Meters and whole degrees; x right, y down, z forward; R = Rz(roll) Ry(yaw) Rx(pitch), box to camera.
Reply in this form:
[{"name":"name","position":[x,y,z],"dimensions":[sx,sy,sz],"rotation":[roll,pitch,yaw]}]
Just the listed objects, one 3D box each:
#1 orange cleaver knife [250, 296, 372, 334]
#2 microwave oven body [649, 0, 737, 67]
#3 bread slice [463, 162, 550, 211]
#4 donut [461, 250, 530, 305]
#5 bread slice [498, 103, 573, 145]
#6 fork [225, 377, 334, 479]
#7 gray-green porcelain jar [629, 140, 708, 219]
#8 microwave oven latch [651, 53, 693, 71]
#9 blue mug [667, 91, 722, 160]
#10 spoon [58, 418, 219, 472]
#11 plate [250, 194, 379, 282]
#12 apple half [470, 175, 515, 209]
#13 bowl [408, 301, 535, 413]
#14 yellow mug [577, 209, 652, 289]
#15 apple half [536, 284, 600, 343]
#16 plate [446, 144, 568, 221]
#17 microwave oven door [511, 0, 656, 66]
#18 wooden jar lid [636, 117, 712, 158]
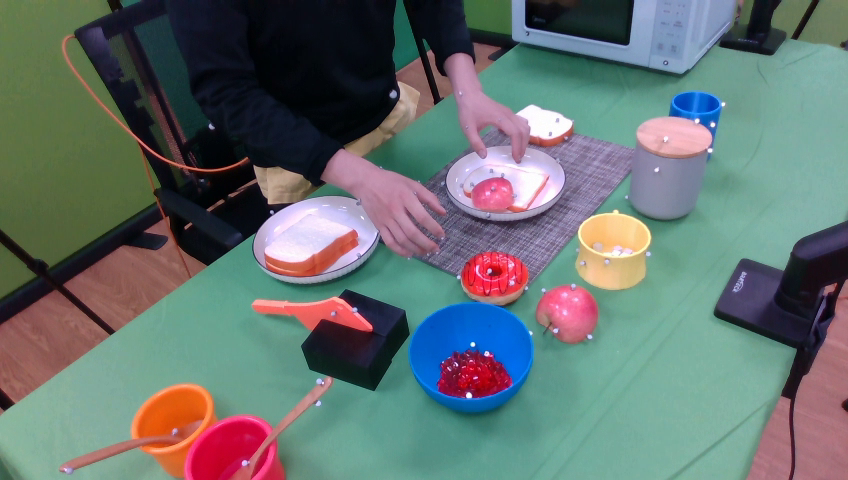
[{"name":"orange cleaver knife","position":[-0.158,0.103,0.828],"dimensions":[0.210,0.078,0.012],"rotation":[-4,43,39]},{"name":"microwave oven body","position":[0.475,-0.602,1.411],"dimensions":[0.438,0.261,0.327],"rotation":[23,50,32]},{"name":"bread slice","position":[0.136,-0.095,1.044],"dimensions":[0.133,0.018,0.107],"rotation":[14,45,24]},{"name":"donut","position":[0.103,0.053,0.872],"dimensions":[0.099,0.048,0.098],"rotation":[-4,40,4]},{"name":"bread slice","position":[0.231,-0.232,1.205],"dimensions":[0.105,0.019,0.130],"rotation":[-36,47,-29]},{"name":"fork","position":[-0.163,0.216,0.646],"dimensions":[0.207,0.019,0.028],"rotation":[-49,42,16]},{"name":"gray-green porcelain jar","position":[0.383,-0.105,0.958],"dimensions":[0.106,0.127,0.105],"rotation":[-4,41,4]},{"name":"microwave oven latch","position":[0.532,-0.386,1.301],"dimensions":[0.078,0.029,0.030],"rotation":[27,52,34]},{"name":"blue mug","position":[0.474,-0.207,1.079],"dimensions":[0.082,0.106,0.116],"rotation":[4,42,13]},{"name":"spoon","position":[-0.304,0.221,0.661],"dimensions":[0.041,0.195,0.021],"rotation":[20,92,27]},{"name":"plate","position":[-0.174,0.000,0.984],"dimensions":[0.209,0.038,0.208],"rotation":[-3,40,3]},{"name":"apple half","position":[0.114,-0.086,1.004],"dimensions":[0.081,0.033,0.081],"rotation":[-4,43,4]},{"name":"bowl","position":[0.060,0.156,0.739],"dimensions":[0.151,0.077,0.150],"rotation":[-4,40,4]},{"name":"yellow mug","position":[0.279,0.004,0.893],"dimensions":[0.099,0.064,0.130],"rotation":[5,41,14]},{"name":"apple half","position":[0.196,0.091,0.815],"dimensions":[0.075,0.053,0.080],"rotation":[-22,42,-20]},{"name":"plate","position":[0.142,-0.096,1.045],"dimensions":[0.207,0.039,0.206],"rotation":[-4,40,4]},{"name":"microwave oven door","position":[0.351,-0.539,1.348],"dimensions":[0.353,0.245,0.039],"rotation":[24,50,31]},{"name":"wooden jar lid","position":[0.377,-0.151,0.917],"dimensions":[0.108,0.021,0.108],"rotation":[-2,41,2]}]
